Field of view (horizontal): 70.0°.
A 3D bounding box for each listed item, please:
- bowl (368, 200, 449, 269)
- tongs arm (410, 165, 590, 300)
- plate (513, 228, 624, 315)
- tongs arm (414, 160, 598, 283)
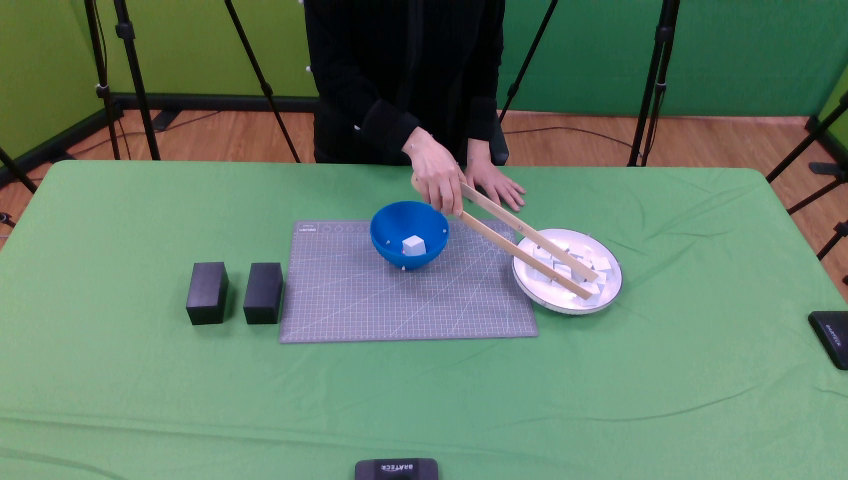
[{"bbox_3d":[-0.030,0.002,1.151,0.151,0.077,0.150,2,46,-2],"label":"bowl"},{"bbox_3d":[0.130,-0.011,1.078,0.387,0.028,0.028,35,54,3],"label":"tongs arm"},{"bbox_3d":[0.268,0.063,1.146,0.208,0.039,0.206,3,46,-3],"label":"plate"},{"bbox_3d":[0.145,-0.030,1.098,0.384,0.026,0.050,37,51,4],"label":"tongs arm"}]
